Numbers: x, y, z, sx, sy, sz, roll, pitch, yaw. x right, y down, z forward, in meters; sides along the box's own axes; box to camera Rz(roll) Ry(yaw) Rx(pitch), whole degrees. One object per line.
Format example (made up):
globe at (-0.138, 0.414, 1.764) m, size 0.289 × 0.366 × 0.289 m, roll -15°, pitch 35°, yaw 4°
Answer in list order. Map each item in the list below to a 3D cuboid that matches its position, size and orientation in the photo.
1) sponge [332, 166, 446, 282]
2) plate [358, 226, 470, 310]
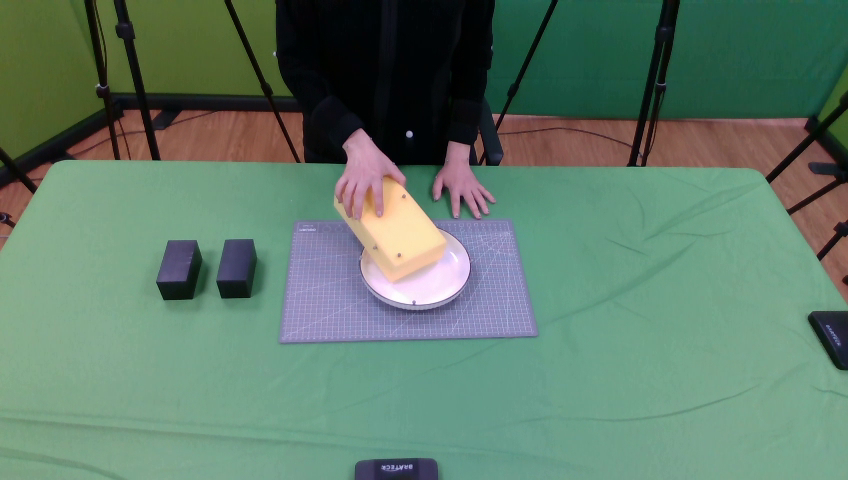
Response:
sponge at (-0.070, -0.034, 1.145) m, size 0.118 × 0.061 × 0.206 m, roll -27°, pitch 65°, yaw -27°
plate at (-0.019, 0.052, 1.132) m, size 0.209 × 0.038 × 0.208 m, roll 2°, pitch 46°, yaw -2°
